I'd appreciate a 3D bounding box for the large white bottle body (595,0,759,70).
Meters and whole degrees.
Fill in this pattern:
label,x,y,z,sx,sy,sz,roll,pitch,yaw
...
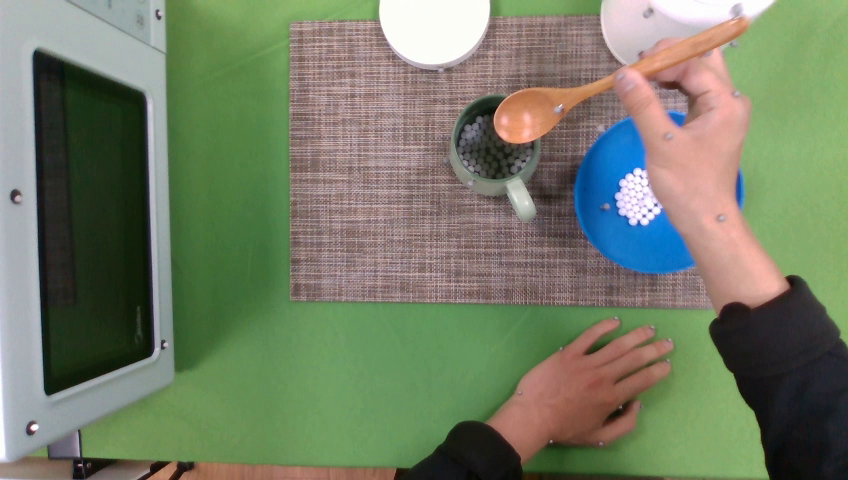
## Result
label,x,y,z,sx,sy,sz,roll,pitch,yaw
large white bottle body,0.228,-0.237,0.525,0.130,0.185,0.130,0,88,5

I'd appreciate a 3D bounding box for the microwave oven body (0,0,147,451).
label,x,y,z,sx,sy,sz,roll,pitch,yaw
microwave oven body,-0.449,-0.060,0.557,0.326,0.260,0.442,-1,93,5

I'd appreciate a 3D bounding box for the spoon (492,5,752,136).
label,x,y,z,sx,sy,sz,roll,pitch,yaw
spoon,0.129,-0.117,0.431,0.193,0.021,0.042,-14,107,44

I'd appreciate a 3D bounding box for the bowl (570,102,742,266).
label,x,y,z,sx,sy,sz,roll,pitch,yaw
bowl,0.214,-0.051,0.589,0.151,0.077,0.151,0,92,6

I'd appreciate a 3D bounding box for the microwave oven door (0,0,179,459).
label,x,y,z,sx,sy,sz,roll,pitch,yaw
microwave oven door,-0.302,-0.021,0.541,0.039,0.244,0.356,-2,92,6

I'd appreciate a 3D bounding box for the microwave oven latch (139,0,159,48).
label,x,y,z,sx,sy,sz,roll,pitch,yaw
microwave oven latch,-0.296,-0.243,0.631,0.030,0.029,0.079,-1,93,5

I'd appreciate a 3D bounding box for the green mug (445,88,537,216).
label,x,y,z,sx,sy,sz,roll,pitch,yaw
green mug,0.072,-0.081,0.587,0.092,0.105,0.125,-26,90,5

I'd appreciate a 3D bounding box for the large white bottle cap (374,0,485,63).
label,x,y,z,sx,sy,sz,roll,pitch,yaw
large white bottle cap,0.006,-0.243,0.628,0.115,0.018,0.115,0,91,5
